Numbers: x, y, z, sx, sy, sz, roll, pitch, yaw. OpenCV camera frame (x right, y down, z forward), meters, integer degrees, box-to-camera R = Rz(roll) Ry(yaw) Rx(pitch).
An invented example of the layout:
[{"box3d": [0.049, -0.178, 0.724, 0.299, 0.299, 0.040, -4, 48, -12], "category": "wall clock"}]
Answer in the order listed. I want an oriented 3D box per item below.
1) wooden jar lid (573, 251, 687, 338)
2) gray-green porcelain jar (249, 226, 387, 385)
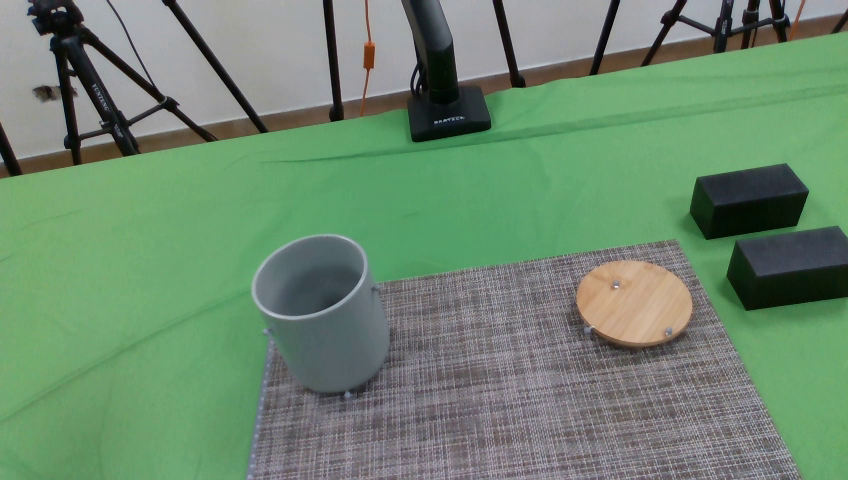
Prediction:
[{"box3d": [0.205, 0.056, 0.605, 0.108, 0.021, 0.107, -6, 45, 6], "category": "wooden jar lid"}, {"box3d": [-0.094, 0.068, 0.577, 0.106, 0.128, 0.105, -6, 44, 6], "category": "gray-green porcelain jar"}]
